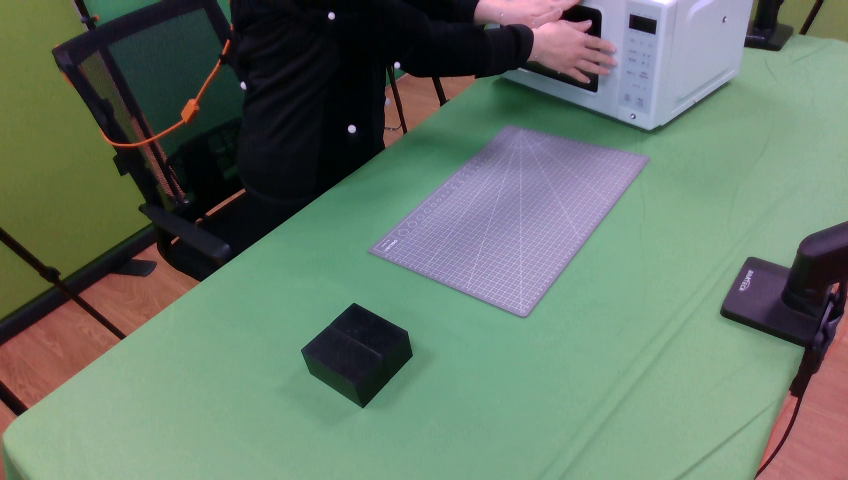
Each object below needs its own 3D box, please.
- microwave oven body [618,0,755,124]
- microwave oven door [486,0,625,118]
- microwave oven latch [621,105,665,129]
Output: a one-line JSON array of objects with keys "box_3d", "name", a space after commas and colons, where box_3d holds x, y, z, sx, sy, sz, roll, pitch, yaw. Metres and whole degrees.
[{"box_3d": [0.402, -0.458, 1.259, 0.327, 0.261, 0.437, -33, 45, -24], "name": "microwave oven body"}, {"box_3d": [0.262, -0.410, 1.221, 0.039, 0.245, 0.352, -34, 46, -25], "name": "microwave oven door"}, {"box_3d": [0.413, -0.237, 1.146, 0.030, 0.029, 0.078, -31, 44, -23], "name": "microwave oven latch"}]
